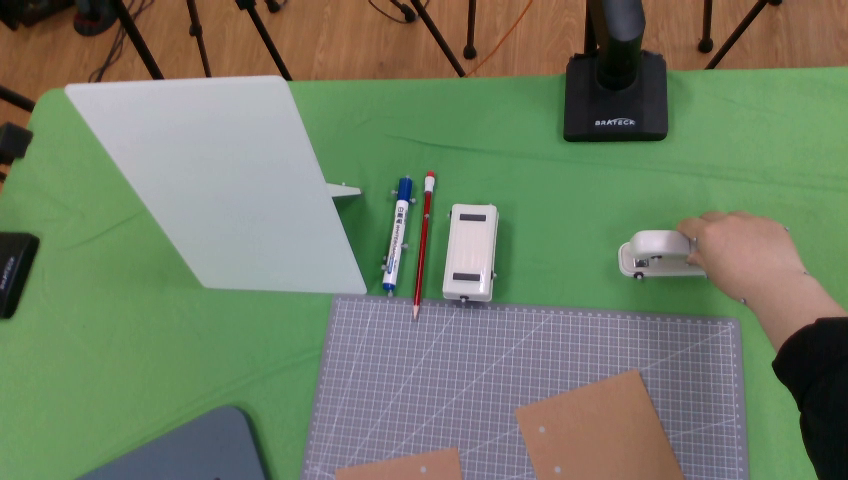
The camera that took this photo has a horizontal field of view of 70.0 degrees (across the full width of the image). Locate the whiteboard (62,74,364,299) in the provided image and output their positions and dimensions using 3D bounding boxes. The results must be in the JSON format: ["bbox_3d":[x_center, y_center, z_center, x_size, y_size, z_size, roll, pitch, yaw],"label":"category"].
[{"bbox_3d":[-0.186,-0.085,0.672,0.216,0.308,0.142,2,49,13],"label":"whiteboard"}]

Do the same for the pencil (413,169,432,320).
[{"bbox_3d":[-0.002,0.002,0.727,0.012,0.012,0.192,0,69,12],"label":"pencil"}]

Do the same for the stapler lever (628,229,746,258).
[{"bbox_3d":[0.276,0.004,0.636,0.118,0.040,0.026,-3,68,11],"label":"stapler lever"}]

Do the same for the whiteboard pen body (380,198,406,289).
[{"bbox_3d":[-0.036,-0.008,0.735,0.017,0.017,0.140,3,69,13],"label":"whiteboard pen body"}]

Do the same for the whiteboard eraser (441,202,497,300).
[{"bbox_3d":[0.052,0.013,0.695,0.055,0.042,0.112,1,69,14],"label":"whiteboard eraser"}]

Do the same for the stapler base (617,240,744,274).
[{"bbox_3d":[0.279,0.013,0.657,0.130,0.024,0.041,-2,69,8],"label":"stapler base"}]

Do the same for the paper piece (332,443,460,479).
[{"bbox_3d":[-0.023,0.287,0.617,0.135,0.004,0.134,-12,68,6],"label":"paper piece"}]

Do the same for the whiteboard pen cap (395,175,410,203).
[{"bbox_3d":[-0.027,-0.063,0.754,0.018,0.018,0.033,1,68,13],"label":"whiteboard pen cap"}]

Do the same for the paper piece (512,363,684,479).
[{"bbox_3d":[0.173,0.210,0.607,0.136,0.009,0.137,-21,68,8],"label":"paper piece"}]

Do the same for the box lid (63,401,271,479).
[{"bbox_3d":[-0.253,0.380,0.629,0.263,0.015,0.368,-27,67,0],"label":"box lid"}]
